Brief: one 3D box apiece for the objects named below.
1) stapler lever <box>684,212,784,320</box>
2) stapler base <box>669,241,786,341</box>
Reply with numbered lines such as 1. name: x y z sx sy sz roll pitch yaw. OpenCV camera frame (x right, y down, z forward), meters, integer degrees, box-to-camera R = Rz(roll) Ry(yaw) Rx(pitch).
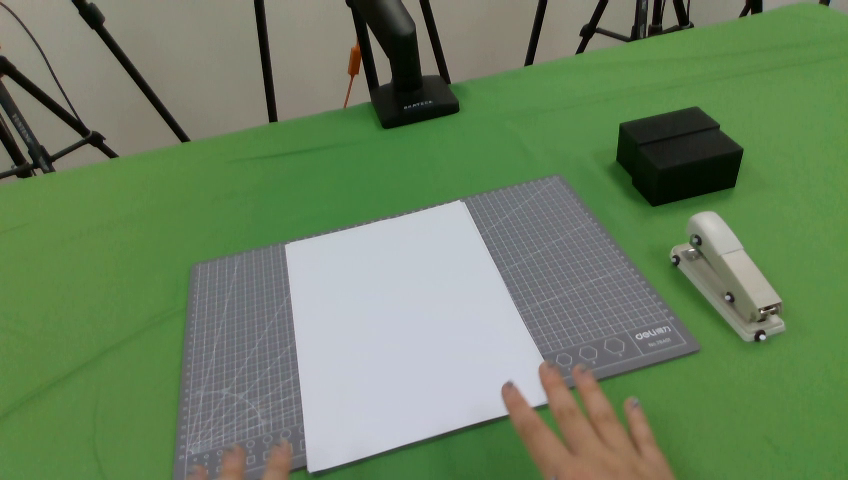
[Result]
1. stapler lever: 0.278 0.019 0.549 0.027 0.040 0.116 -16 42 -6
2. stapler base: 0.280 0.037 0.566 0.041 0.025 0.129 -16 41 -6
